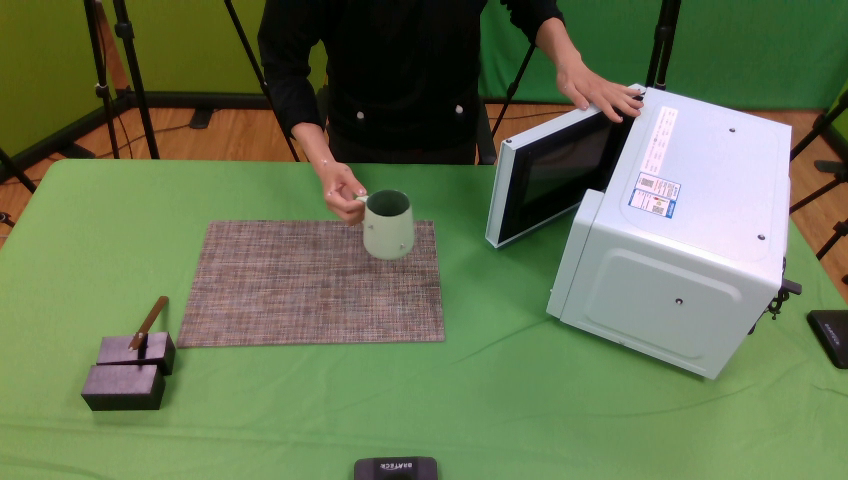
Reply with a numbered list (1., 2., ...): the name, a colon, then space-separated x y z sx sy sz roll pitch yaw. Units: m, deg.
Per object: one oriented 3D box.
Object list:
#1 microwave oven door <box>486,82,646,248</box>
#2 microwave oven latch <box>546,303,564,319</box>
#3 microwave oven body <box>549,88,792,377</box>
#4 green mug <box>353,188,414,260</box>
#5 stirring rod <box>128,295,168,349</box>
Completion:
1. microwave oven door: 0.279 -0.148 1.182 0.356 0.245 0.039 -26 52 -26
2. microwave oven latch: 0.242 0.102 1.081 0.030 0.029 0.079 22 48 17
3. microwave oven body: 0.456 -0.028 1.088 0.325 0.261 0.440 20 47 16
4. green mug: -0.077 -0.034 1.075 0.125 0.105 0.092 29 49 26
5. stirring rod: -0.451 0.131 0.996 0.014 0.006 0.175 9 20 -10
